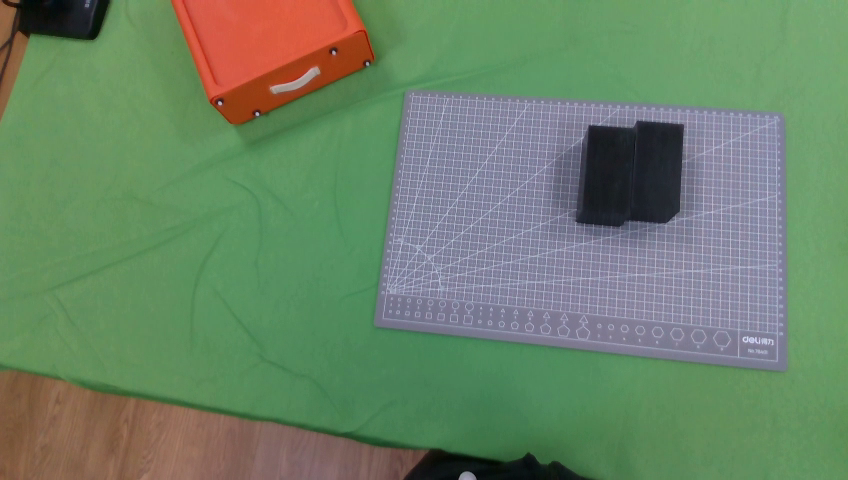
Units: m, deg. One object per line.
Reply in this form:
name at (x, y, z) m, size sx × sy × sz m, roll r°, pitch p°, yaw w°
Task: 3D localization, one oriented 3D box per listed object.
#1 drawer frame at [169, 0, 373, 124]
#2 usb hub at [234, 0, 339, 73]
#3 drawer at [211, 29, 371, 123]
drawer frame at (-0.198, -0.283, 0.755) m, size 0.202 × 0.083 × 0.212 m, roll -26°, pitch 75°, yaw -1°
usb hub at (-0.173, -0.259, 0.760) m, size 0.125 × 0.025 × 0.049 m, roll -20°, pitch 89°, yaw 8°
drawer at (-0.198, -0.280, 0.759) m, size 0.194 × 0.073 × 0.210 m, roll -26°, pitch 74°, yaw -1°
